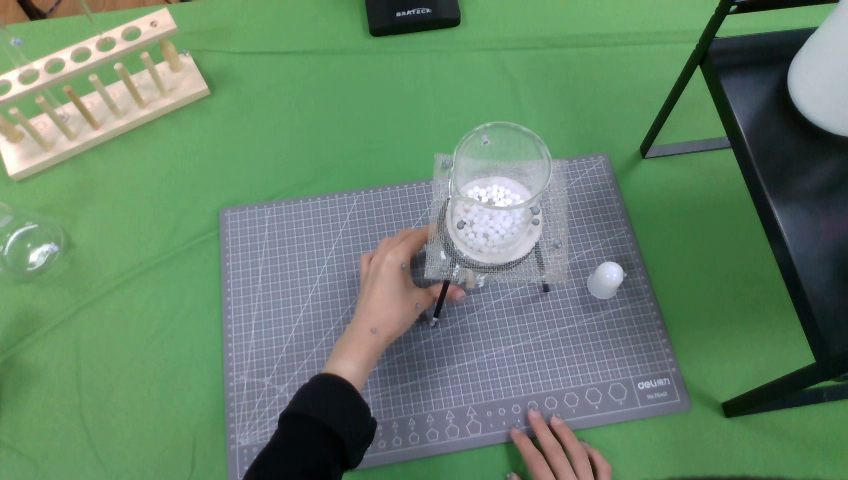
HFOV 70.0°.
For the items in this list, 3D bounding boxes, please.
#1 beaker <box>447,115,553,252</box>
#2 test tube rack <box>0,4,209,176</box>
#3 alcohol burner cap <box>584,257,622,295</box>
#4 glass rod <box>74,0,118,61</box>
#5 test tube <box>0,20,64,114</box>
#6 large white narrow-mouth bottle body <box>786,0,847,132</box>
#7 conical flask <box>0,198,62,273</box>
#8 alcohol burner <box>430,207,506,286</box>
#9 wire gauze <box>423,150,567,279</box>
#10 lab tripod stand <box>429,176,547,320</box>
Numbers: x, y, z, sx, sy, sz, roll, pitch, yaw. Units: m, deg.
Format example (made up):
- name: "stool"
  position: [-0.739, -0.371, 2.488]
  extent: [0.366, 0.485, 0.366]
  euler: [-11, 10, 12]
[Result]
- name: "beaker"
  position: [0.054, -0.038, 0.484]
  extent: [0.084, 0.101, 0.073]
  euler: [-31, 70, -12]
- name: "test tube rack"
  position: [-0.385, -0.172, 0.695]
  extent: [0.242, 0.086, 0.066]
  euler: [-28, 69, -12]
- name: "alcohol burner cap"
  position: [0.188, 0.034, 0.628]
  extent: [0.034, 0.048, 0.033]
  euler: [0, 66, 0]
- name: "glass rod"
  position: [-0.362, -0.239, 0.652]
  extent: [0.008, 0.201, 0.008]
  euler: [-1, 59, 3]
- name: "test tube"
  position: [-0.429, -0.189, 0.648]
  extent: [0.017, 0.151, 0.017]
  euler: [0, 60, 0]
- name: "large white narrow-mouth bottle body"
  position: [0.360, -0.168, 0.440]
  extent: [0.102, 0.196, 0.101]
  euler: [-1, 66, 2]
- name: "conical flask"
  position: [-0.433, -0.021, 0.610]
  extent: [0.075, 0.123, 0.075]
  euler: [0, 66, 1]
- name: "alcohol burner"
  position: [0.045, 0.001, 0.603]
  extent: [0.078, 0.120, 0.077]
  euler: [1, 64, -1]
- name: "wire gauze"
  position: [0.064, -0.024, 0.531]
  extent: [0.121, 0.011, 0.124]
  euler: [5, 65, -1]
- name: "lab tripod stand"
  position: [0.058, 0.008, 0.589]
  extent: [0.148, 0.132, 0.147]
  euler: [1, 65, -1]
